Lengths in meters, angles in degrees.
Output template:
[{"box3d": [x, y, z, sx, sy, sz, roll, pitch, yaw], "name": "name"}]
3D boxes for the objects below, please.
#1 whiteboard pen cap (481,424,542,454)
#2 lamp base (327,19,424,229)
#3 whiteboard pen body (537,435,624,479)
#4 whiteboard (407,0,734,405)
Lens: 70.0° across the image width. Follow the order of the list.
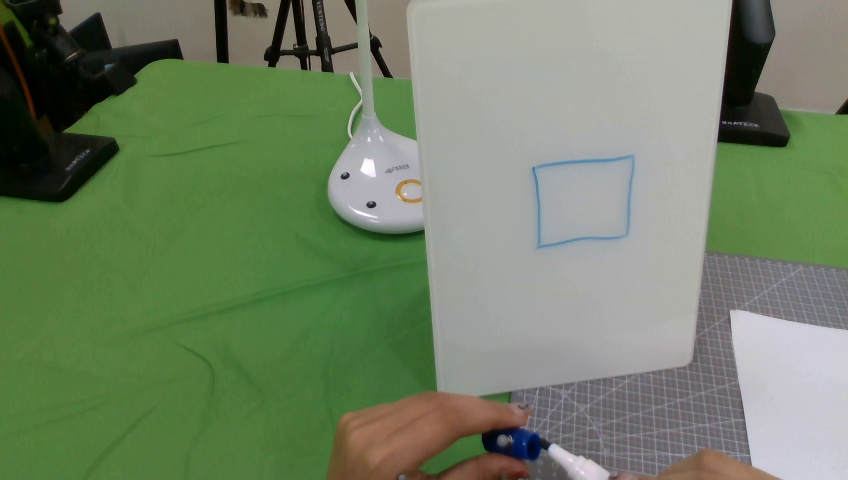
[{"box3d": [0.050, 0.114, 0.346, 0.033, 0.018, 0.018, -15, 28, 41], "name": "whiteboard pen cap"}, {"box3d": [-0.039, -0.130, 0.647, 0.161, 0.182, 0.177, -26, 45, -25], "name": "lamp base"}, {"box3d": [0.112, 0.135, 0.287, 0.139, 0.017, 0.017, 31, 51, 31], "name": "whiteboard pen body"}, {"box3d": [0.100, -0.046, 0.500, 0.217, 0.307, 0.142, -7, 23, -5], "name": "whiteboard"}]
